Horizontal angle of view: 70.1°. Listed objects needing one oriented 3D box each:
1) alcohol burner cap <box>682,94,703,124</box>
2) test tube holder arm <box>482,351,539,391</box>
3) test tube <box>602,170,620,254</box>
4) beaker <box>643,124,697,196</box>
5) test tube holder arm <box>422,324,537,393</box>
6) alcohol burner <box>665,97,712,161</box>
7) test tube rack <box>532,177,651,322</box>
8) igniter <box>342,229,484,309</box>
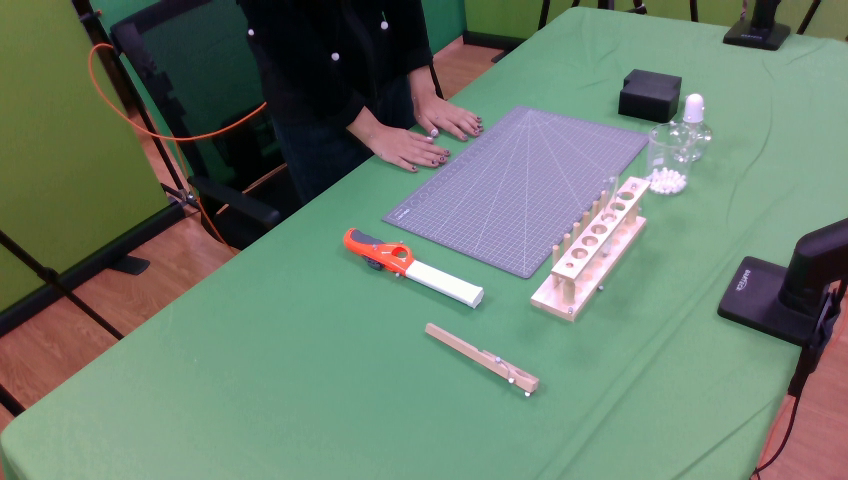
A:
[{"bbox_3d":[0.460,-0.225,1.033,0.034,0.048,0.033,-8,34,6],"label":"alcohol burner cap"},{"bbox_3d":[0.106,0.166,0.769,0.087,0.015,0.010,24,15,34],"label":"test tube holder arm"},{"bbox_3d":[0.261,-0.035,0.848,0.017,0.151,0.017,-6,44,6],"label":"test tube"},{"bbox_3d":[0.407,-0.132,1.001,0.084,0.101,0.073,-20,42,-13],"label":"beaker"},{"bbox_3d":[0.068,0.152,0.789,0.177,0.015,0.013,23,15,32],"label":"test tube holder arm"},{"bbox_3d":[0.465,-0.198,1.057,0.078,0.119,0.077,-4,41,4],"label":"alcohol burner"},{"bbox_3d":[0.247,0.002,0.883,0.066,0.085,0.243,22,49,32],"label":"test tube rack"},{"bbox_3d":[-0.027,0.039,0.936,0.274,0.025,0.057,23,59,32],"label":"igniter"}]
